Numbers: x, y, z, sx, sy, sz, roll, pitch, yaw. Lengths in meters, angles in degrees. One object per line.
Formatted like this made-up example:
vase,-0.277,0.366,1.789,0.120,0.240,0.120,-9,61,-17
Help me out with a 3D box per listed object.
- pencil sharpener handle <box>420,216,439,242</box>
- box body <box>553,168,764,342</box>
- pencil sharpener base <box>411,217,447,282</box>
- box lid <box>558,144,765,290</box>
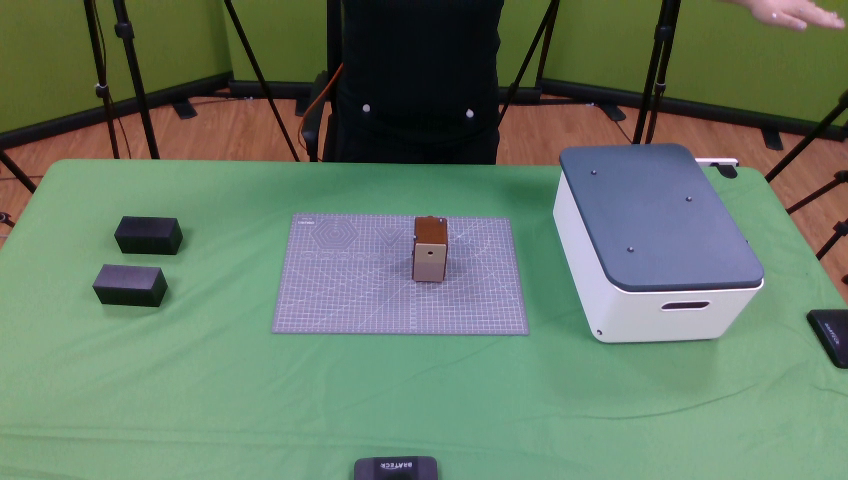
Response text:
pencil sharpener handle,0.008,-0.027,1.145,0.036,0.068,0.030,6,45,-6
box body,0.403,0.006,1.125,0.254,0.161,0.361,-2,46,-5
pencil sharpener base,0.009,0.017,1.118,0.061,0.107,0.076,1,45,-2
box lid,0.403,-0.054,1.073,0.263,0.015,0.369,-2,45,-5
